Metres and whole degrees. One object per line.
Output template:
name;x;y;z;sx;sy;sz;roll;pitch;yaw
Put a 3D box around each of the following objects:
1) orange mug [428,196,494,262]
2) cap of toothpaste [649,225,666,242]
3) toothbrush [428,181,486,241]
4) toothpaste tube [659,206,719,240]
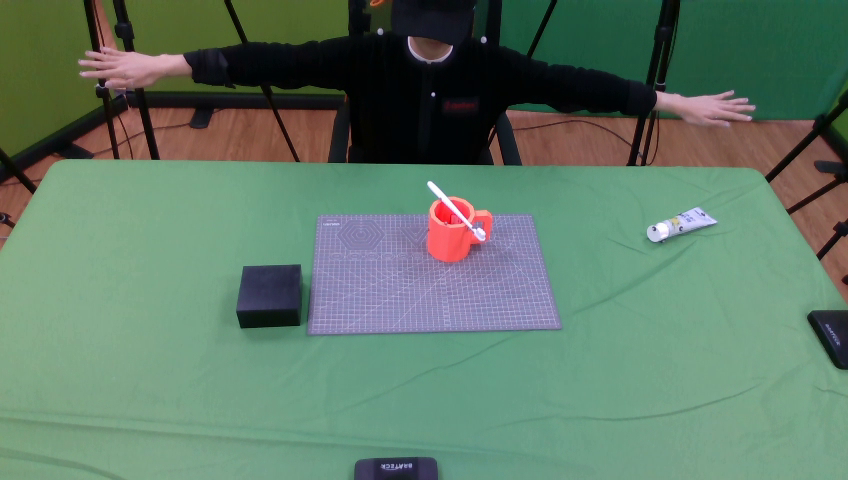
orange mug;0.070;-0.023;1.164;0.126;0.101;0.083;-7;46;-5
cap of toothpaste;0.473;-0.015;1.226;0.011;0.037;0.037;-20;51;-26
toothbrush;0.059;-0.058;1.125;0.014;0.017;0.180;-24;52;-24
toothpaste tube;0.542;-0.035;1.259;0.165;0.034;0.054;-19;55;-26
